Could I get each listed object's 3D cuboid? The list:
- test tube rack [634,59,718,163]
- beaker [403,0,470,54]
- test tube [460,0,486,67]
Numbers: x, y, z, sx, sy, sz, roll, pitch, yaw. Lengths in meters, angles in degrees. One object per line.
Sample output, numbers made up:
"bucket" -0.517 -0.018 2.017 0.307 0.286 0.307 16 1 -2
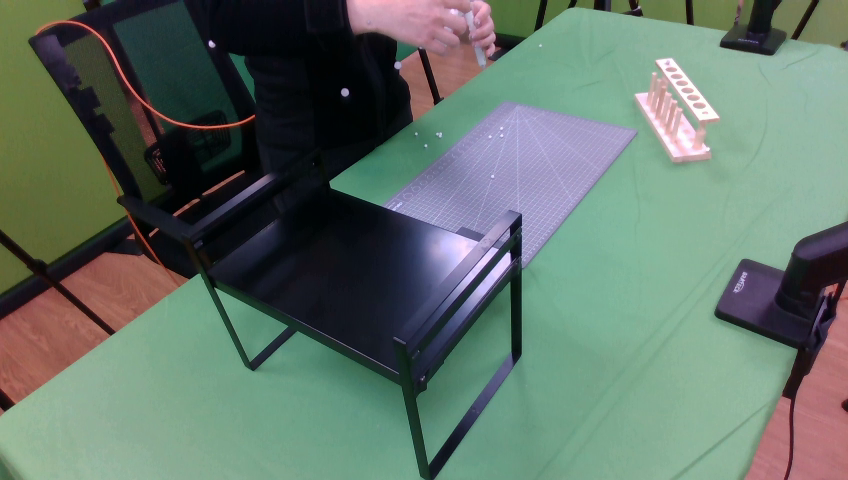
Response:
"test tube rack" 0.470 -0.250 1.148 0.067 0.085 0.241 -6 40 3
"beaker" 0.020 -0.332 0.888 0.073 0.085 0.100 30 95 36
"test tube" 0.081 -0.334 0.982 0.017 0.151 0.017 -7 64 14
